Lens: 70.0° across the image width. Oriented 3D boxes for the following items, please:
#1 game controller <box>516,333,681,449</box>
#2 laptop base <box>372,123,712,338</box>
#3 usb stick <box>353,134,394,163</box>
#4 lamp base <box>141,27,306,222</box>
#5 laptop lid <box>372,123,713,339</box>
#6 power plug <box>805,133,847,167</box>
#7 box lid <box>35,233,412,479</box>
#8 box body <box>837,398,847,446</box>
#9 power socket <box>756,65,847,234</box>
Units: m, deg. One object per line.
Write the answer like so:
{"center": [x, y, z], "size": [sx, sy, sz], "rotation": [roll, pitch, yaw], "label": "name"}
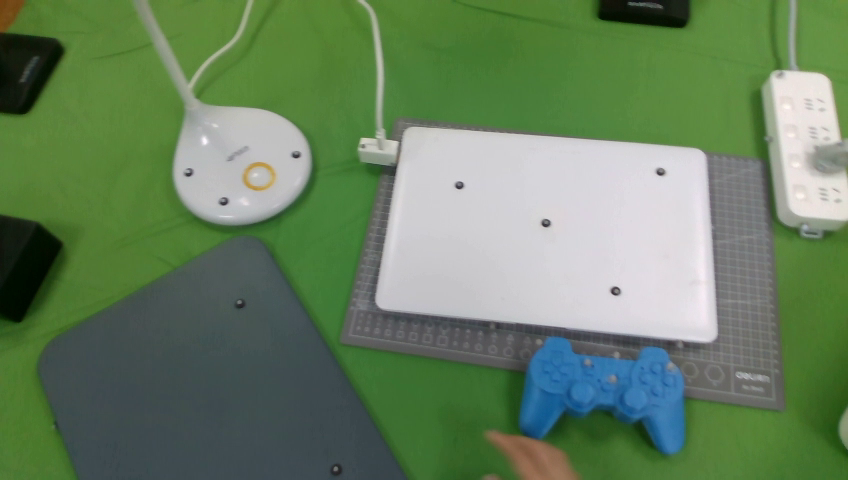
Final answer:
{"center": [0.170, 0.142, 0.584], "size": [0.155, 0.052, 0.096], "rotation": [6, 62, 4], "label": "game controller"}
{"center": [0.132, -0.017, 0.679], "size": [0.354, 0.023, 0.234], "rotation": [5, 68, 4], "label": "laptop base"}
{"center": [-0.052, -0.107, 0.713], "size": [0.059, 0.027, 0.021], "rotation": [9, 60, 2], "label": "usb stick"}
{"center": [-0.234, -0.132, 0.655], "size": [0.178, 0.182, 0.160], "rotation": [33, 69, 19], "label": "lamp base"}
{"center": [0.131, -0.020, 0.667], "size": [0.356, 0.013, 0.240], "rotation": [6, 67, 5], "label": "laptop lid"}
{"center": [0.463, -0.092, 0.673], "size": [0.072, 0.053, 0.035], "rotation": [17, 66, 8], "label": "power plug"}
{"center": [-0.205, 0.181, 0.600], "size": [0.263, 0.015, 0.368], "rotation": [-32, 68, -13], "label": "box lid"}
{"center": [0.581, 0.107, 0.526], "size": [0.252, 0.161, 0.363], "rotation": [39, 71, 18], "label": "box body"}
{"center": [0.439, -0.114, 0.709], "size": [0.072, 0.033, 0.225], "rotation": [7, 64, 4], "label": "power socket"}
